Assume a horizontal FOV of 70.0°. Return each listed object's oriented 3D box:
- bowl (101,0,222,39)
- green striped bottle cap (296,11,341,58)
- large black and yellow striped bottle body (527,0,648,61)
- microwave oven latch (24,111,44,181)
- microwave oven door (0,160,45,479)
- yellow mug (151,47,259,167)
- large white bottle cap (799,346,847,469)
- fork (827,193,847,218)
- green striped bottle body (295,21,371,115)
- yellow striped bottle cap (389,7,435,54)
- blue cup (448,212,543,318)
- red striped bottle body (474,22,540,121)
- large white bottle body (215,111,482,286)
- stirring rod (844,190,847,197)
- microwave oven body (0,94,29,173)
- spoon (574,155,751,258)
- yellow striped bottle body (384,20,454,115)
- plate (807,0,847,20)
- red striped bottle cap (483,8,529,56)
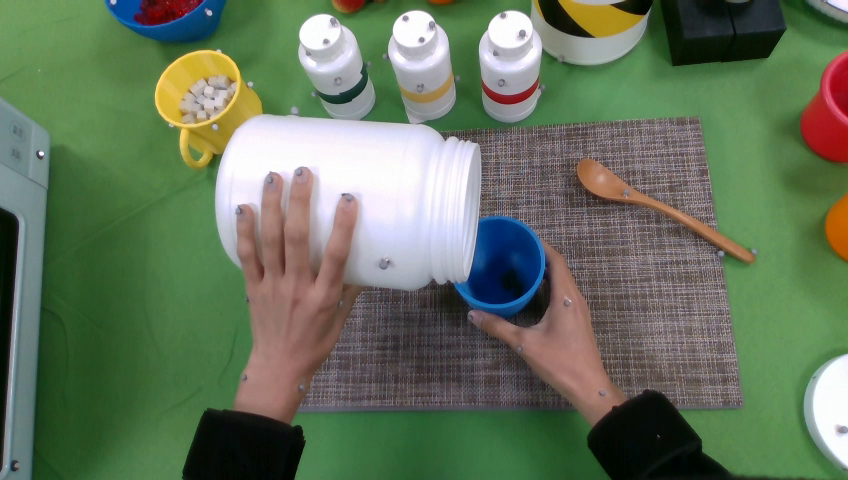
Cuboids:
[{"bbox_3d":[-0.306,-0.303,0.744,0.151,0.077,0.150,-2,71,6],"label":"bowl"},{"bbox_3d":[-0.106,-0.207,0.609,0.044,0.020,0.044,-2,70,6],"label":"green striped bottle cap"},{"bbox_3d":[0.173,-0.289,0.621,0.130,0.185,0.130,-2,71,7],"label":"large black and yellow striped bottle body"},{"bbox_3d":[-0.461,-0.107,0.701,0.030,0.030,0.078,-9,71,4],"label":"microwave oven latch"},{"bbox_3d":[-0.442,0.065,0.534,0.039,0.245,0.353,-11,70,4],"label":"microwave oven door"},{"bbox_3d":[-0.253,-0.146,0.691,0.100,0.064,0.130,8,73,9],"label":"yellow mug"},{"bbox_3d":[0.396,0.149,0.534,0.115,0.018,0.114,-2,71,7],"label":"large white bottle cap"},{"bbox_3d":[0.441,-0.006,0.509,0.028,0.205,0.019,-23,114,-14],"label":"fork"},{"bbox_3d":[-0.099,-0.190,0.657,0.063,0.120,0.063,-2,71,6],"label":"green striped bottle body"},{"bbox_3d":[-0.012,-0.207,0.597,0.044,0.019,0.044,-2,73,6],"label":"yellow striped bottle cap"},{"bbox_3d":[0.065,0.032,0.566,0.092,0.101,0.092,-2,70,6],"label":"blue cup"},{"bbox_3d":[0.087,-0.182,0.632,0.063,0.121,0.062,-5,67,11],"label":"red striped bottle body"},{"bbox_3d":[-0.051,-0.032,0.480,0.184,0.131,0.130,5,72,11],"label":"large white bottle body"},{"bbox_3d":[0.413,-0.006,0.521,0.014,0.006,0.175,0,29,5],"label":"stirring rod"},{"bbox_3d":[-0.590,0.055,0.561,0.326,0.262,0.438,-11,71,3],"label":"microwave oven body"},{"bbox_3d":[0.237,-0.033,0.609,0.193,0.022,0.041,29,53,15],"label":"spoon"},{"bbox_3d":[-0.005,-0.190,0.645,0.063,0.121,0.062,-3,71,8],"label":"yellow striped bottle body"},{"bbox_3d":[0.494,-0.322,0.668,0.209,0.038,0.208,-2,72,7],"label":"plate"},{"bbox_3d":[0.079,-0.201,0.582,0.044,0.018,0.044,-1,70,3],"label":"red striped bottle cap"}]
